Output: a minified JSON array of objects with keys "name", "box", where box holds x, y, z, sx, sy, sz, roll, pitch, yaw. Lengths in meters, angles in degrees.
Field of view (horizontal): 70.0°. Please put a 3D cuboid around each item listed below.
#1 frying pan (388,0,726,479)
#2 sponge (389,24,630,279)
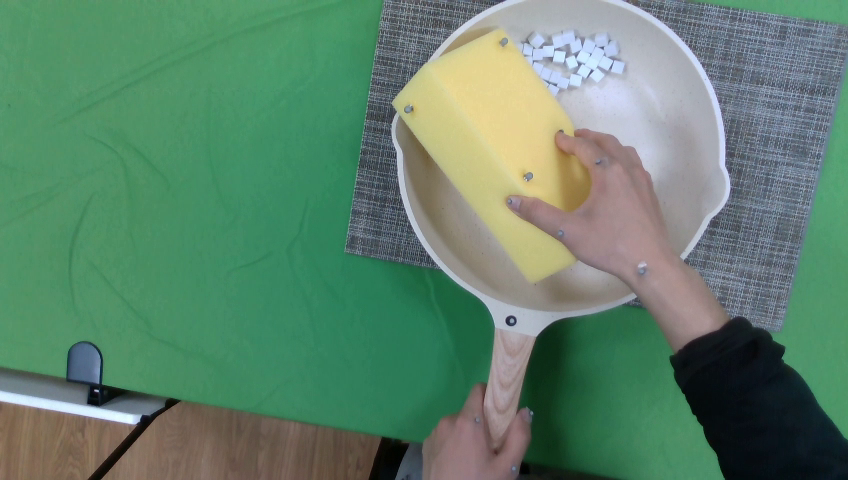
[{"name":"frying pan","box":[0.096,0.020,0.571,0.306,0.103,0.487,13,89,4]},{"name":"sponge","box":[0.081,-0.082,0.550,0.207,0.118,0.061,51,141,-3]}]
